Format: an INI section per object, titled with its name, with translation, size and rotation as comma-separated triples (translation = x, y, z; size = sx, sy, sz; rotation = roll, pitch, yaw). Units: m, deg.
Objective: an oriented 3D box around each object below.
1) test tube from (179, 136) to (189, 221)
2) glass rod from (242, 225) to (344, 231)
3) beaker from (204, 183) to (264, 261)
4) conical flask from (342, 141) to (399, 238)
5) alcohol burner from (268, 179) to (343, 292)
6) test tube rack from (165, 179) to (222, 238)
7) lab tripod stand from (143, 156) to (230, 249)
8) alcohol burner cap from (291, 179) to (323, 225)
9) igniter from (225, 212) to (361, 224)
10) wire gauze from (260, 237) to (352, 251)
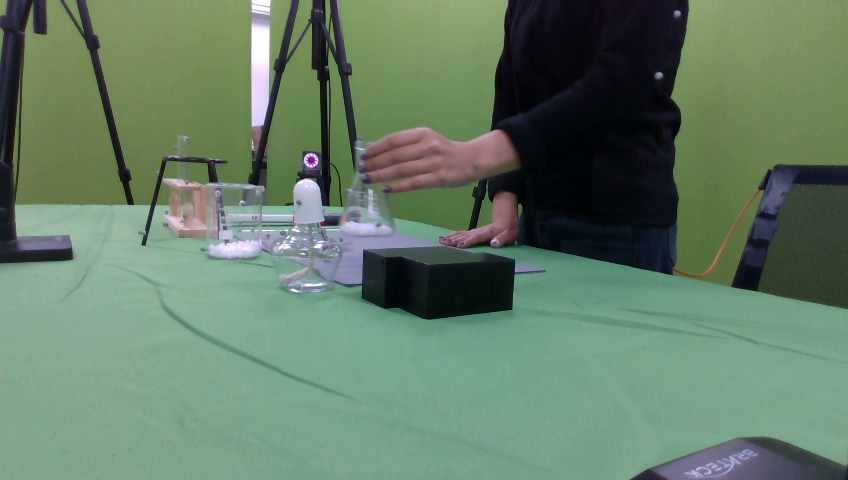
[test tube]
translation = -0.425, -0.108, 1.070
size = 0.017, 0.150, 0.017
rotation = 4, 9, 0
[glass rod]
translation = -0.246, -0.023, 1.155
size = 0.201, 0.008, 0.008
rotation = -2, 8, -31
[beaker]
translation = -0.254, -0.026, 0.817
size = 0.073, 0.100, 0.084
rotation = 9, 9, 39
[conical flask]
translation = -0.066, -0.066, 0.782
size = 0.075, 0.122, 0.075
rotation = 4, 7, 0
[alcohol burner]
translation = -0.124, -0.005, 0.637
size = 0.078, 0.119, 0.078
rotation = 4, 8, 0
[test tube rack]
translation = -0.423, -0.062, 1.098
size = 0.067, 0.085, 0.241
rotation = -2, 9, -28
[lab tripod stand]
translation = -0.338, -0.058, 0.908
size = 0.148, 0.131, 0.148
rotation = 4, 7, 0
[alcohol burner cap]
translation = -0.124, -0.040, 0.632
size = 0.034, 0.048, 0.034
rotation = -3, 10, 1
[igniter]
translation = -0.262, -0.044, 1.240
size = 0.278, 0.025, 0.057
rotation = -2, -1, -31
[wire gauze]
translation = -0.184, 0.004, 0.938
size = 0.122, 0.011, 0.124
rotation = -1, 5, -24
